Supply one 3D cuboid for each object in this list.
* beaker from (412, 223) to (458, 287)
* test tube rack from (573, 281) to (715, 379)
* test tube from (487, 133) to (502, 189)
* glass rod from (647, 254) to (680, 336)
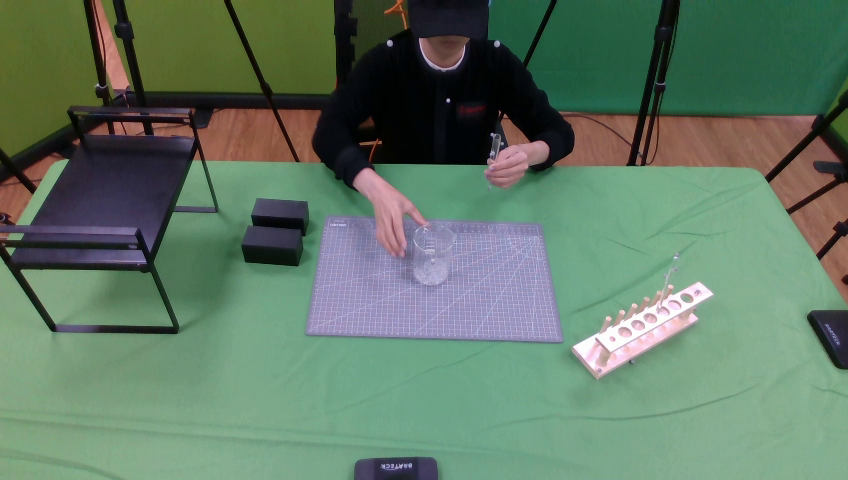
[{"bbox_3d":[0.018,0.030,1.109,0.084,0.101,0.073,-10,48,-14],"label":"beaker"},{"bbox_3d":[0.378,0.140,1.038,0.242,0.085,0.066,-22,51,-22],"label":"test tube rack"},{"bbox_3d":[0.136,-0.151,1.179,0.017,0.151,0.017,0,55,0],"label":"test tube"},{"bbox_3d":[0.390,0.094,0.991,0.008,0.201,0.008,-1,44,2],"label":"glass rod"}]
